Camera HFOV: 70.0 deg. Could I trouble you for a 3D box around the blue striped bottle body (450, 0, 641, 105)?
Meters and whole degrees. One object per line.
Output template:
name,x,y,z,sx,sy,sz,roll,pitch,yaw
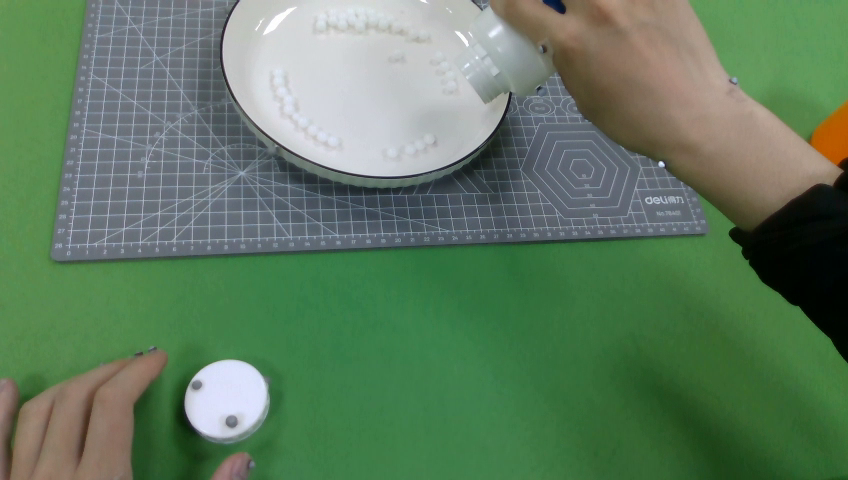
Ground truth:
blue striped bottle body,0.076,-0.142,0.404,0.121,0.063,0.062,-36,72,12

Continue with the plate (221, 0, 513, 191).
plate,-0.039,-0.121,0.445,0.208,0.039,0.206,5,63,-9

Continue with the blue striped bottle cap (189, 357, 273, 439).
blue striped bottle cap,-0.108,0.088,0.341,0.045,0.021,0.044,4,67,-9
